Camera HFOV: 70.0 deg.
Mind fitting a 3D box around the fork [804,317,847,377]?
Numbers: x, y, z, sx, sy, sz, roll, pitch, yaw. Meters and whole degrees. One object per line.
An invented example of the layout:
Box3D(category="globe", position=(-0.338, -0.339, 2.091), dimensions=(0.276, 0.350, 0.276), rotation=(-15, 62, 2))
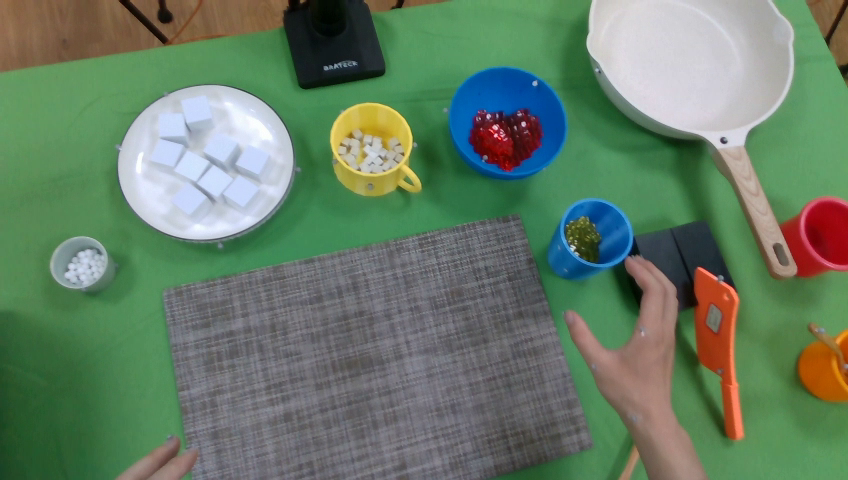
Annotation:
Box3D(category="fork", position=(0.477, 0.127, 0.711), dimensions=(0.209, 0.018, 0.028), rotation=(32, 66, -42))

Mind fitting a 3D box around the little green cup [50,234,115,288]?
Box3D(category="little green cup", position=(-0.390, 0.027, 0.699), dimensions=(0.061, 0.039, 0.061), rotation=(2, 74, -6))

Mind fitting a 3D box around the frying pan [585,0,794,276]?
Box3D(category="frying pan", position=(0.380, -0.178, 0.812), dimensions=(0.307, 0.103, 0.483), rotation=(-8, 67, -7))

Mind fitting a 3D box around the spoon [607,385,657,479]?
Box3D(category="spoon", position=(0.238, 0.256, 0.713), dimensions=(0.041, 0.022, 0.193), rotation=(27, 72, 15))

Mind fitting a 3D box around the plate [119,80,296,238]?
Box3D(category="plate", position=(-0.263, -0.098, 0.752), dimensions=(0.208, 0.039, 0.206), rotation=(2, 74, -6))

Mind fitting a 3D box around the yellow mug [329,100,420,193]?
Box3D(category="yellow mug", position=(-0.056, -0.107, 0.763), dimensions=(0.130, 0.064, 0.100), rotation=(38, 73, 5))

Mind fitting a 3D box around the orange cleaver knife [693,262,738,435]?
Box3D(category="orange cleaver knife", position=(0.350, 0.132, 0.731), dimensions=(0.012, 0.076, 0.212), rotation=(-13, 105, -9))

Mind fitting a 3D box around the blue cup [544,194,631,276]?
Box3D(category="blue cup", position=(0.190, 0.002, 0.740), dimensions=(0.093, 0.100, 0.092), rotation=(2, 71, -7))

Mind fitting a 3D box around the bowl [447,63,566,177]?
Box3D(category="bowl", position=(0.100, -0.142, 0.784), dimensions=(0.151, 0.077, 0.150), rotation=(2, 74, -6))
